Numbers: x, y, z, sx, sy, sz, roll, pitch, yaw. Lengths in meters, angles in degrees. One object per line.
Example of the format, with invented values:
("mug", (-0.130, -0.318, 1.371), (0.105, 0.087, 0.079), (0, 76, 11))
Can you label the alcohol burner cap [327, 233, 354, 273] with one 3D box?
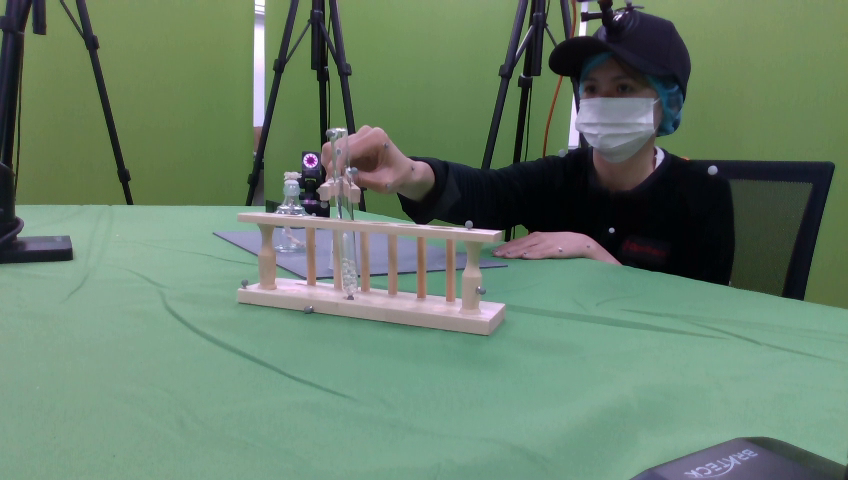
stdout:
("alcohol burner cap", (-0.104, 0.016, 0.752), (0.034, 0.048, 0.034), (3, 6, 0))

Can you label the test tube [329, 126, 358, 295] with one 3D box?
("test tube", (-0.071, -0.025, 0.535), (0.017, 0.150, 0.017), (-3, 8, 1))

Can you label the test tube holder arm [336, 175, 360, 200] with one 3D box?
("test tube holder arm", (-0.075, -0.052, 0.582), (0.010, 0.015, 0.087), (-4, 13, -18))

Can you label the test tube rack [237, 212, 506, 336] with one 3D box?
("test tube rack", (-0.049, 0.024, 0.552), (0.242, 0.085, 0.067), (5, 8, 19))

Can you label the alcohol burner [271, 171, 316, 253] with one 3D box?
("alcohol burner", (-0.196, -0.041, 0.884), (0.078, 0.119, 0.078), (3, 5, 0))

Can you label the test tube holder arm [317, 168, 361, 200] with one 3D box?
("test tube holder arm", (-0.084, -0.061, 0.624), (0.013, 0.015, 0.178), (3, 12, 2))
